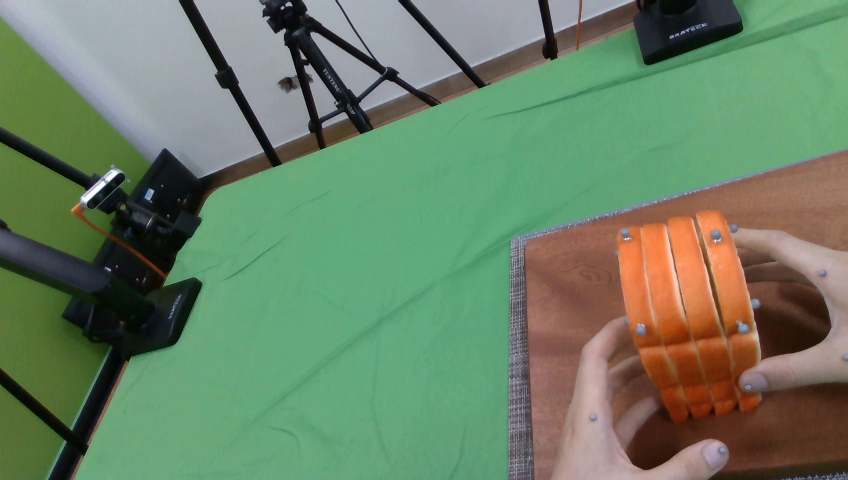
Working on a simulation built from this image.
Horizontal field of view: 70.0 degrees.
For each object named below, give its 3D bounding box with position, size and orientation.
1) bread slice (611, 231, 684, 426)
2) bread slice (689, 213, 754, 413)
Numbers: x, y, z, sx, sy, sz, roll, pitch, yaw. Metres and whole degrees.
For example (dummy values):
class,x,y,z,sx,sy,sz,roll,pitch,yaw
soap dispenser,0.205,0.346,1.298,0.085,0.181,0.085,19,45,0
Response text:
class,x,y,z,sx,sy,sz,roll,pitch,yaw
bread slice,0.165,0.057,0.446,0.018,0.136,0.106,-15,41,25
bread slice,0.209,0.046,0.425,0.019,0.133,0.104,-13,47,20
